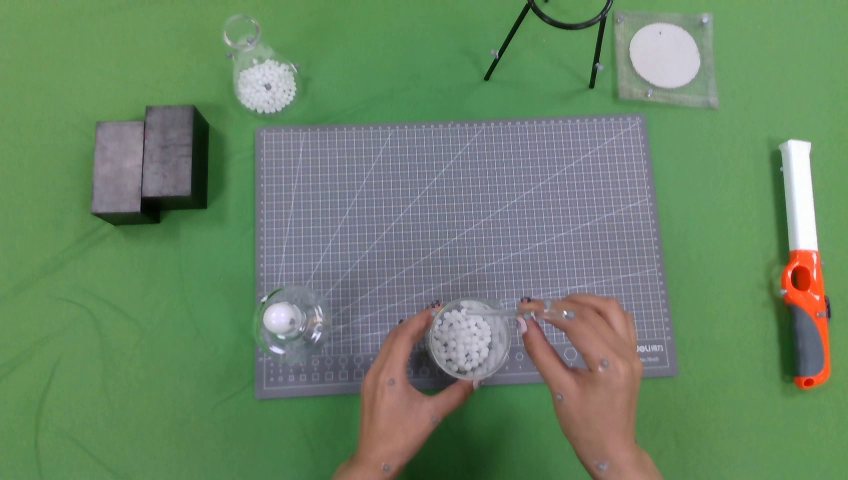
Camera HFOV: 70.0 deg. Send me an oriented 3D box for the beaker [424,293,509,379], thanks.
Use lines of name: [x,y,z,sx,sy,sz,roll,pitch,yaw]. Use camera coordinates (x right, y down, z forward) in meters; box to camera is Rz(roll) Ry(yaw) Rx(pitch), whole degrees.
beaker: [0.038,0.091,0.589,0.074,0.100,0.084,40,80,3]

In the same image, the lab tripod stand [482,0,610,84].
lab tripod stand: [0.136,-0.236,0.659,0.148,0.132,0.148,0,81,-2]

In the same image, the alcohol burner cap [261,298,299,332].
alcohol burner cap: [-0.134,0.068,0.558,0.034,0.048,0.033,1,82,-6]

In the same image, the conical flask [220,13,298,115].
conical flask: [-0.181,-0.190,0.642,0.075,0.122,0.075,0,78,-2]

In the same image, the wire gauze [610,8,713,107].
wire gauze: [0.285,-0.222,0.726,0.125,0.011,0.121,3,79,-4]

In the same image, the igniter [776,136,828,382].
igniter: [0.418,0.018,0.674,0.057,0.025,0.275,5,79,-12]

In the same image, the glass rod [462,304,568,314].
glass rod: [0.068,0.057,0.507,0.008,0.199,0.008,2,84,-17]

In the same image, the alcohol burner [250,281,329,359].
alcohol burner: [-0.135,0.077,0.593,0.078,0.119,0.077,0,78,0]
